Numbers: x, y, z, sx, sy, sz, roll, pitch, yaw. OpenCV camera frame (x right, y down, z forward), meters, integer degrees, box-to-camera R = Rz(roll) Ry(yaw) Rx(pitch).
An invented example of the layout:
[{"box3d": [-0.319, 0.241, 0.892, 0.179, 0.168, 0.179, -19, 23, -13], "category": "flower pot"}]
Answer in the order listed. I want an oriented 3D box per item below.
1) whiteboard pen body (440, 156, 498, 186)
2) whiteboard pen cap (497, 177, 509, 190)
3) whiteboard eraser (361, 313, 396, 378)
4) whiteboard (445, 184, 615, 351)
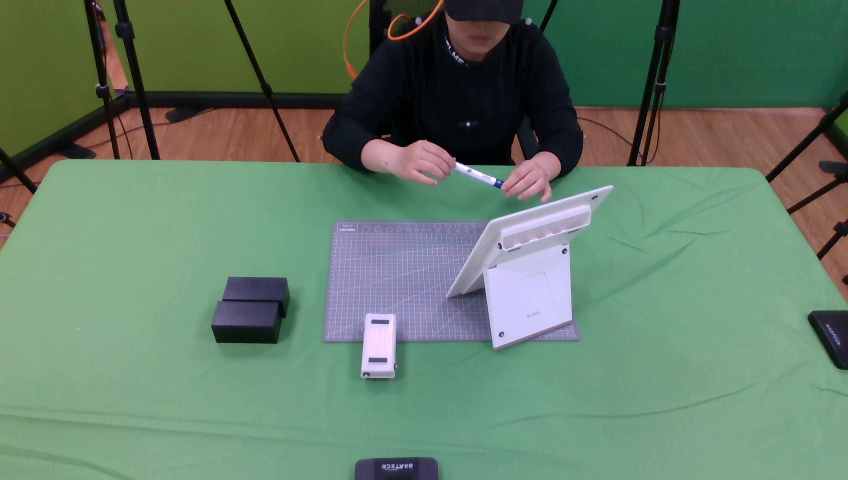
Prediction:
[{"box3d": [0.096, -0.129, 1.165, 0.141, 0.017, 0.017, 22, 45, -13], "category": "whiteboard pen body"}, {"box3d": [0.154, -0.108, 1.181, 0.018, 0.033, 0.018, -10, 67, 25], "category": "whiteboard pen cap"}, {"box3d": [-0.075, 0.176, 1.006, 0.055, 0.042, 0.112, 3, 50, -4], "category": "whiteboard eraser"}, {"box3d": [0.187, 0.065, 0.989, 0.217, 0.306, 0.143, -15, 68, -18], "category": "whiteboard"}]
